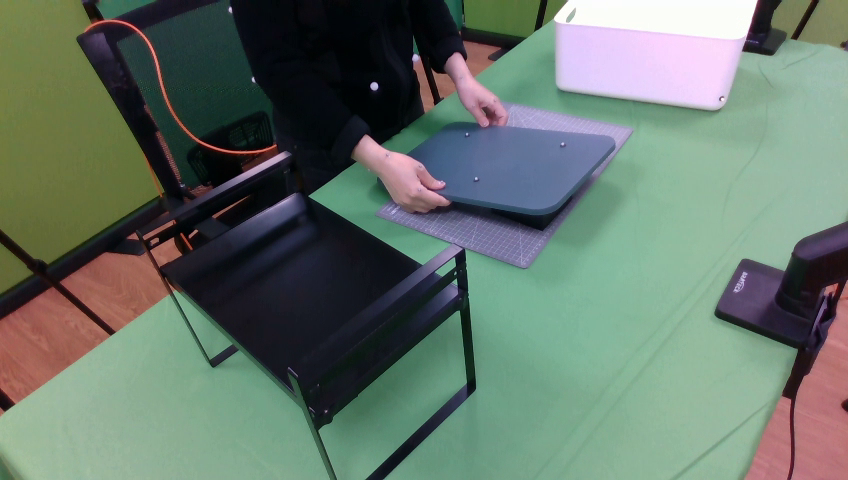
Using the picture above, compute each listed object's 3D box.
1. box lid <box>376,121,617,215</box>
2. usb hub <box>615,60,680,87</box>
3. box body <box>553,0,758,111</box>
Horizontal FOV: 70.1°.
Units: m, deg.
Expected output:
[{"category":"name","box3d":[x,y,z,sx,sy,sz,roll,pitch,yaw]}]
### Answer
[{"category":"box lid","box3d":[0.119,-0.139,1.069,0.368,0.015,0.264,14,41,36]},{"category":"usb hub","box3d":[0.484,-0.361,1.311,0.124,0.025,0.049,19,48,28]},{"category":"box body","box3d":[0.481,-0.417,1.281,0.362,0.161,0.254,15,46,24]}]
